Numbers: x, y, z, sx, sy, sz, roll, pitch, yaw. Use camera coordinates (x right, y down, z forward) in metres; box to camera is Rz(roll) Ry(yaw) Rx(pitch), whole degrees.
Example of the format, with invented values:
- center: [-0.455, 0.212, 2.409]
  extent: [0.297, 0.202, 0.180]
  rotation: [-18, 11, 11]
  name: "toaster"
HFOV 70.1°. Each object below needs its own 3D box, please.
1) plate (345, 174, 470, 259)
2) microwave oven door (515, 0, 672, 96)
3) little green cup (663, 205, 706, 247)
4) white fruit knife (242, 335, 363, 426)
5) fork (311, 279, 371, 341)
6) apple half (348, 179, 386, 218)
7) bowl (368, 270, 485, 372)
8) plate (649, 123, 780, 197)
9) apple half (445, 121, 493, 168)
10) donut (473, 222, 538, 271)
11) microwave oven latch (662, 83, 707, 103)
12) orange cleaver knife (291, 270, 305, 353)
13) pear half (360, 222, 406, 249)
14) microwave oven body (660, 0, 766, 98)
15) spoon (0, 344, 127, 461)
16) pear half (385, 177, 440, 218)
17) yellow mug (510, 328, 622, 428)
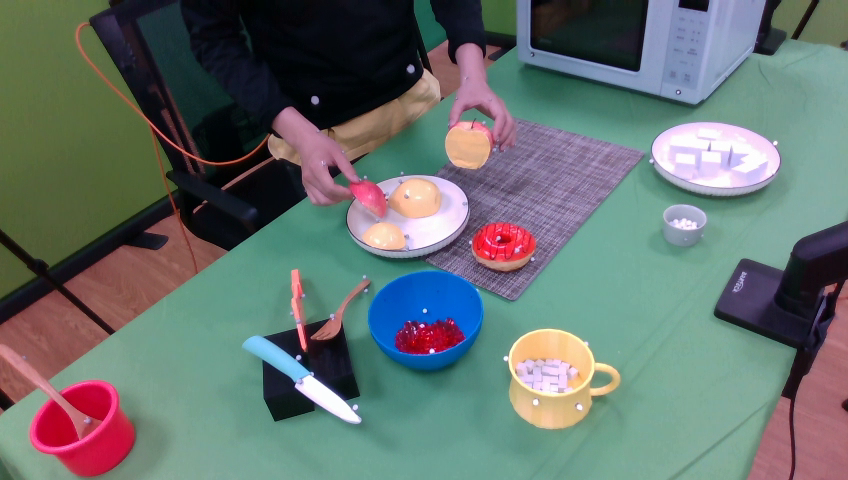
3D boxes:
- center: [-0.026, -0.037, 1.004]
  extent: [0.209, 0.038, 0.208]
  rotation: [-4, 40, 4]
  name: "plate"
- center: [0.343, -0.455, 1.259]
  extent: [0.353, 0.245, 0.039]
  rotation: [26, 51, 33]
  name: "microwave oven door"
- center: [0.396, -0.021, 0.926]
  extent: [0.061, 0.039, 0.061]
  rotation: [-4, 40, 4]
  name: "little green cup"
- center: [-0.148, 0.167, 0.730]
  extent: [0.206, 0.016, 0.027]
  rotation: [26, 79, 31]
  name: "white fruit knife"
- center: [-0.108, 0.092, 0.832]
  extent: [0.028, 0.019, 0.207]
  rotation: [-6, 19, 15]
  name: "fork"
- center: [-0.084, -0.073, 0.987]
  extent: [0.033, 0.082, 0.080]
  rotation: [-45, 40, 16]
  name: "apple half"
- center: [0.007, 0.118, 0.791]
  extent: [0.151, 0.077, 0.150]
  rotation: [-5, 40, 4]
  name: "bowl"
- center: [0.497, -0.135, 1.046]
  extent: [0.207, 0.039, 0.206]
  rotation: [-4, 40, 4]
  name: "plate"
- center: [0.079, -0.164, 1.011]
  extent: [0.080, 0.075, 0.053]
  rotation: [10, 33, 17]
  name: "apple half"
- center: [0.123, 0.008, 0.923]
  extent: [0.099, 0.048, 0.098]
  rotation: [-3, 38, 3]
  name: "donut"
- center: [0.517, -0.296, 1.204]
  extent: [0.078, 0.029, 0.030]
  rotation: [27, 52, 35]
  name: "microwave oven latch"
- center: [-0.175, 0.094, 0.844]
  extent: [0.012, 0.077, 0.210]
  rotation: [-11, 14, -10]
  name: "orange cleaver knife"
- center: [-0.064, -0.013, 0.960]
  extent: [0.071, 0.031, 0.087]
  rotation: [6, 23, -23]
  name: "pear half"
- center: [0.472, -0.513, 1.317]
  extent: [0.438, 0.261, 0.327]
  rotation: [26, 51, 34]
  name: "microwave oven body"
- center: [-0.433, 0.191, 0.721]
  extent: [0.194, 0.021, 0.042]
  rotation: [47, 52, -6]
  name: "spoon"
- center: [-0.030, -0.079, 1.033]
  extent: [0.109, 0.056, 0.076]
  rotation: [1, 36, 15]
  name: "pear half"
- center: [0.168, 0.164, 0.722]
  extent: [0.130, 0.064, 0.099]
  rotation: [0, 40, 8]
  name: "yellow mug"
